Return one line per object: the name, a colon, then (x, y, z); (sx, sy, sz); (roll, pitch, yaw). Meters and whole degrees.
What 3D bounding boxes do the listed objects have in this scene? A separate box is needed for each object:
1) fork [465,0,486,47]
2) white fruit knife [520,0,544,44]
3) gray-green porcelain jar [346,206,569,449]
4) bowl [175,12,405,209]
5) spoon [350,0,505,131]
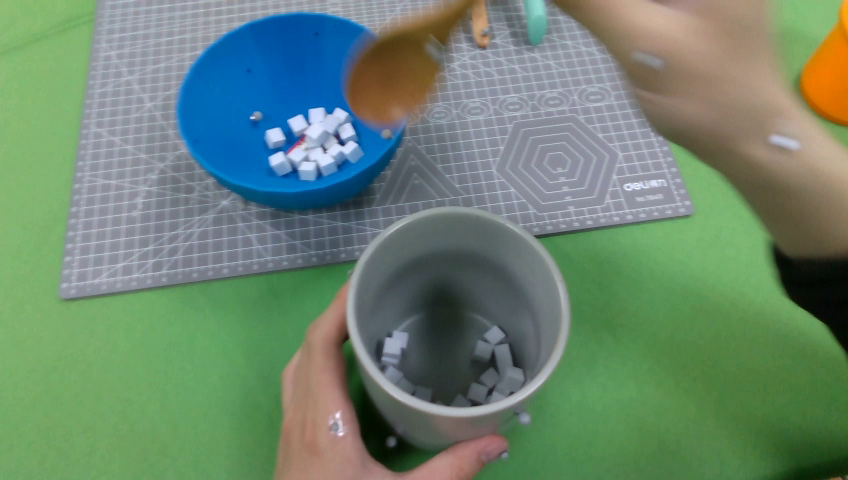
fork: (0.028, -0.265, 0.523); (0.028, 0.018, 0.206); (-10, 82, -12)
white fruit knife: (0.077, -0.270, 0.528); (0.016, 0.027, 0.206); (-8, 77, -7)
gray-green porcelain jar: (0.016, 0.057, 0.337); (0.106, 0.127, 0.105); (0, 63, 0)
bowl: (-0.085, -0.077, 0.425); (0.151, 0.077, 0.150); (1, 63, -1)
spoon: (0.029, -0.095, 0.223); (0.042, 0.193, 0.021); (29, 57, -23)
